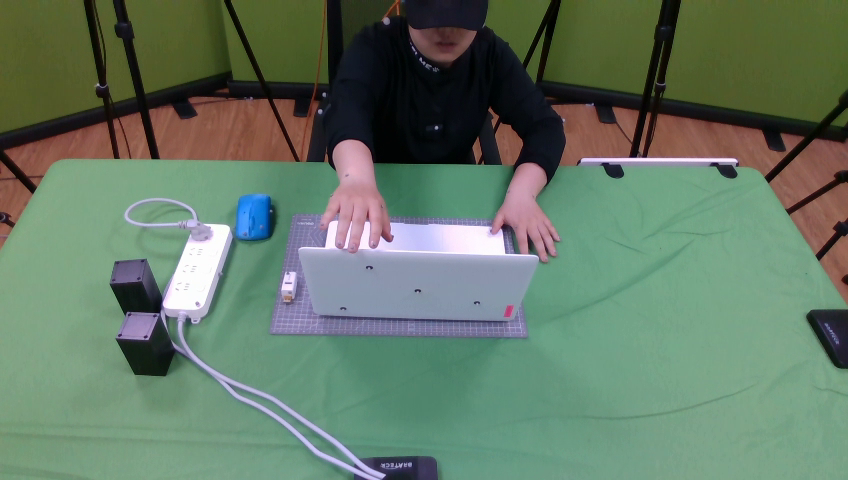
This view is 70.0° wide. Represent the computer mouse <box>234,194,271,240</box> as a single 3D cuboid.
[{"bbox_3d":[-0.341,-0.050,1.207,0.063,0.041,0.116,-1,50,-6],"label":"computer mouse"}]

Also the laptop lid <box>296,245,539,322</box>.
[{"bbox_3d":[-0.012,0.076,0.962,0.357,0.243,0.013,3,58,-4],"label":"laptop lid"}]

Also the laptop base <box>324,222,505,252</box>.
[{"bbox_3d":[-0.018,0.055,1.144,0.354,0.023,0.234,2,43,-2],"label":"laptop base"}]

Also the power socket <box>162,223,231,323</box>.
[{"bbox_3d":[-0.411,0.051,1.107,0.072,0.033,0.225,4,46,-2],"label":"power socket"}]

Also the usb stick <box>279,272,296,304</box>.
[{"bbox_3d":[-0.246,0.088,1.085,0.021,0.027,0.059,3,46,-2],"label":"usb stick"}]

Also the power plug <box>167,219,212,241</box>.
[{"bbox_3d":[-0.438,-0.017,1.144,0.072,0.053,0.035,10,44,7],"label":"power plug"}]
